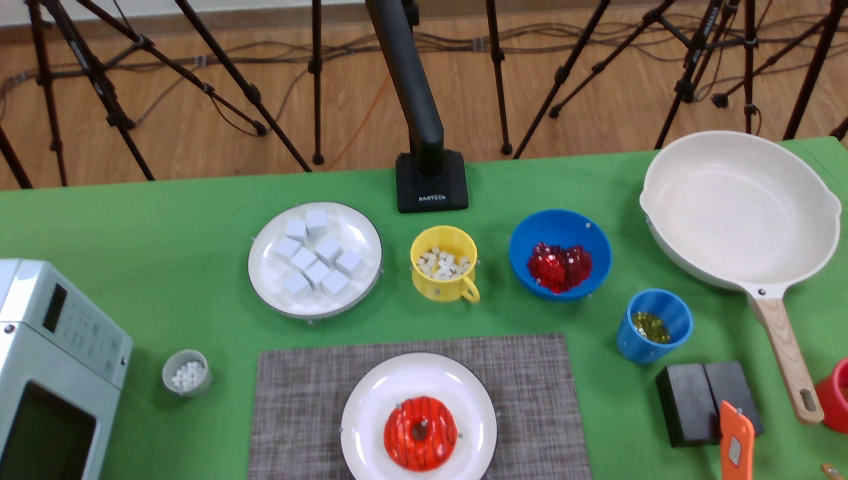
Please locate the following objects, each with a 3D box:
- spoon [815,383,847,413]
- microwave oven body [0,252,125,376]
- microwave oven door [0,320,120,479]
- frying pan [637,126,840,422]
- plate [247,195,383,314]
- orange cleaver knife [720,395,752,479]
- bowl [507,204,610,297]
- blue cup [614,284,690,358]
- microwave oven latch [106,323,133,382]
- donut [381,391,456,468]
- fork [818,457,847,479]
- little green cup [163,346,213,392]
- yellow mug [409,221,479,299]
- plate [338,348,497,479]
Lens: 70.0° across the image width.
[{"bbox_3d":[0.610,0.193,0.774,0.193,0.022,0.041,-22,47,41],"label":"spoon"},{"bbox_3d":[-0.585,0.262,0.680,0.326,0.262,0.437,0,60,0],"label":"microwave oven body"},{"bbox_3d":[-0.439,0.294,0.653,0.039,0.246,0.352,-1,59,1],"label":"microwave oven door"},{"bbox_3d":[0.481,0.031,0.895,0.307,0.103,0.483,1,51,3],"label":"frying pan"},{"bbox_3d":[-0.167,0.024,0.948,0.208,0.039,0.206,0,60,1],"label":"plate"},{"bbox_3d":[0.389,0.303,0.750,0.012,0.077,0.211,-4,89,-1],"label":"orange cleaver knife"},{"bbox_3d":[0.197,0.029,0.916,0.151,0.077,0.150,0,60,1],"label":"bowl"},{"bbox_3d":[0.309,0.121,0.846,0.092,0.101,0.092,0,61,0],"label":"blue cup"},{"bbox_3d":[-0.434,0.158,0.851,0.030,0.030,0.078,1,60,1],"label":"microwave oven latch"},{"bbox_3d":[-0.007,0.249,0.796,0.099,0.048,0.098,-1,63,2],"label":"donut"},{"bbox_3d":[0.509,0.306,0.707,0.209,0.018,0.028,43,60,-25],"label":"fork"},{"bbox_3d":[-0.330,0.184,0.854,0.061,0.039,0.061,0,60,1],"label":"little green cup"},{"bbox_3d":[0.038,0.040,0.919,0.100,0.064,0.130,-37,66,-18],"label":"yellow mug"},{"bbox_3d":[-0.008,0.247,0.810,0.209,0.038,0.207,0,60,1],"label":"plate"}]
